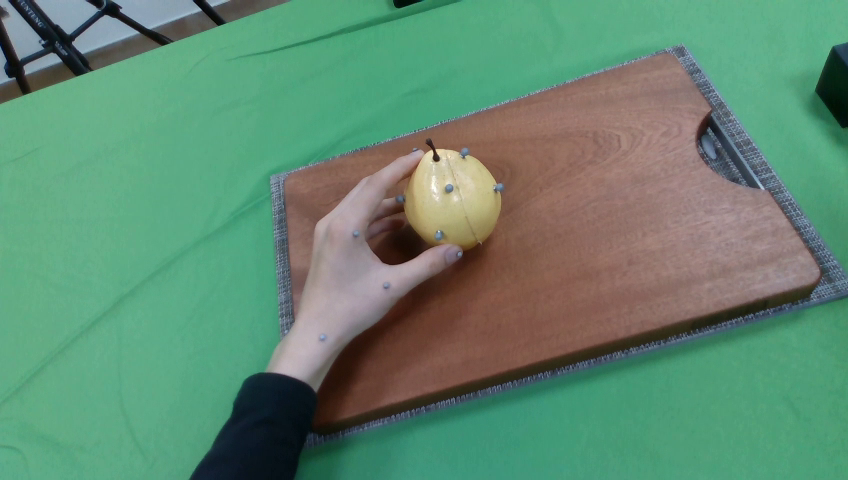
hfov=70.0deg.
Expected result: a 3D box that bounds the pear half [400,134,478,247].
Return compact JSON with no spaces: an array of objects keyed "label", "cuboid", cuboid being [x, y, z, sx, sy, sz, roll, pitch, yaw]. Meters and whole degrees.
[{"label":"pear half","cuboid":[0.005,-0.041,0.482,0.056,0.111,0.075,-19,47,5]}]

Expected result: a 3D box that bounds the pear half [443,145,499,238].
[{"label":"pear half","cuboid":[0.042,-0.044,0.486,0.031,0.089,0.069,-19,44,5]}]
